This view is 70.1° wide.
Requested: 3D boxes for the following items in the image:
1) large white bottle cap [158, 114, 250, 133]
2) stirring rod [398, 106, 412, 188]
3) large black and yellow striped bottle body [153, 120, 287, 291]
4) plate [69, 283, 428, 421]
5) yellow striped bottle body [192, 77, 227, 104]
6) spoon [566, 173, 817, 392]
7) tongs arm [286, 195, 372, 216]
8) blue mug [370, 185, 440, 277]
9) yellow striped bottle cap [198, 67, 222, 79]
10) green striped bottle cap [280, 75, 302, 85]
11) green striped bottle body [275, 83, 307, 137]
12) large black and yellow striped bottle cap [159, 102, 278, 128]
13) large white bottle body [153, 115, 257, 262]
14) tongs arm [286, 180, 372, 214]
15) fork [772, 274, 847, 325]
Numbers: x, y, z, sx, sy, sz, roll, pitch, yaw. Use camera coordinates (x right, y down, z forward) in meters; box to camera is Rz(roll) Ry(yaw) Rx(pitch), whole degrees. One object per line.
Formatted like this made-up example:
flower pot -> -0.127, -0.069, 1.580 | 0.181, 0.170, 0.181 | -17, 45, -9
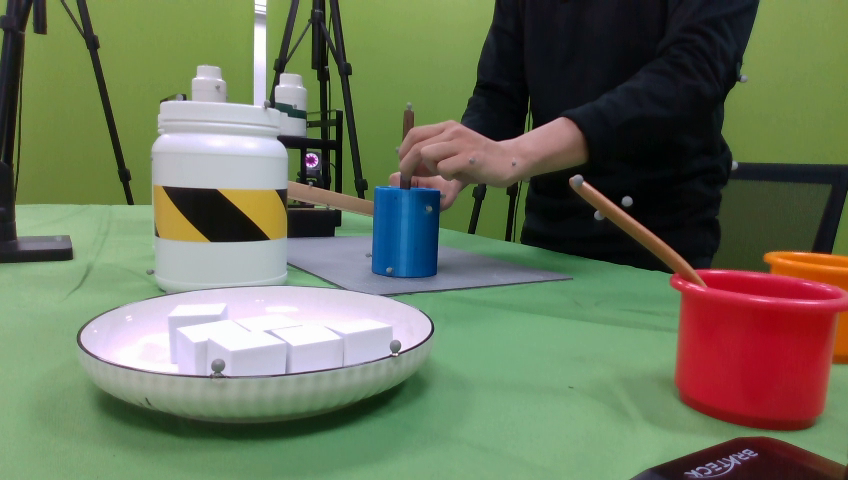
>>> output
large white bottle cap -> -0.291, -0.153, 0.803 | 0.115, 0.018, 0.115 | 1, 7, 0
stirring rod -> -0.024, -0.068, 0.711 | 0.014, 0.176, 0.006 | 10, 14, 30
large black and yellow striped bottle body -> -0.208, -0.042, 0.626 | 0.131, 0.184, 0.130 | 2, 7, 0
plate -> -0.102, 0.066, 0.381 | 0.208, 0.039, 0.207 | 2, 7, 0
yellow striped bottle body -> -0.414, -0.268, 1.169 | 0.063, 0.120, 0.063 | 2, 7, 0
spoon -> 0.161, 0.024, 0.370 | 0.193, 0.021, 0.042 | 47, 17, 3
tongs arm -> -0.165, -0.074, 1.216 | 0.389, 0.027, 0.028 | 11, -6, -24
blue mug -> -0.024, -0.015, 0.760 | 0.082, 0.106, 0.116 | 2, 7, -4
yellow striped bottle cap -> -0.412, -0.320, 1.162 | 0.044, 0.018, 0.044 | 0, 6, 0
green striped bottle cap -> -0.267, -0.320, 1.216 | 0.044, 0.020, 0.044 | 3, 8, 0
green striped bottle body -> -0.269, -0.269, 1.221 | 0.063, 0.119, 0.063 | 2, 7, 0
large black and yellow striped bottle cap -> -0.207, -0.125, 0.615 | 0.115, 0.019, 0.115 | 2, 6, 0
large white bottle body -> -0.293, -0.070, 0.813 | 0.131, 0.184, 0.130 | 2, 7, 0
tongs arm -> -0.122, -0.066, 1.147 | 0.387, 0.026, 0.050 | 11, -2, -37
fork -> 0.332, 0.019, 0.444 | 0.028, 0.018, 0.207 | 0, -36, -14
